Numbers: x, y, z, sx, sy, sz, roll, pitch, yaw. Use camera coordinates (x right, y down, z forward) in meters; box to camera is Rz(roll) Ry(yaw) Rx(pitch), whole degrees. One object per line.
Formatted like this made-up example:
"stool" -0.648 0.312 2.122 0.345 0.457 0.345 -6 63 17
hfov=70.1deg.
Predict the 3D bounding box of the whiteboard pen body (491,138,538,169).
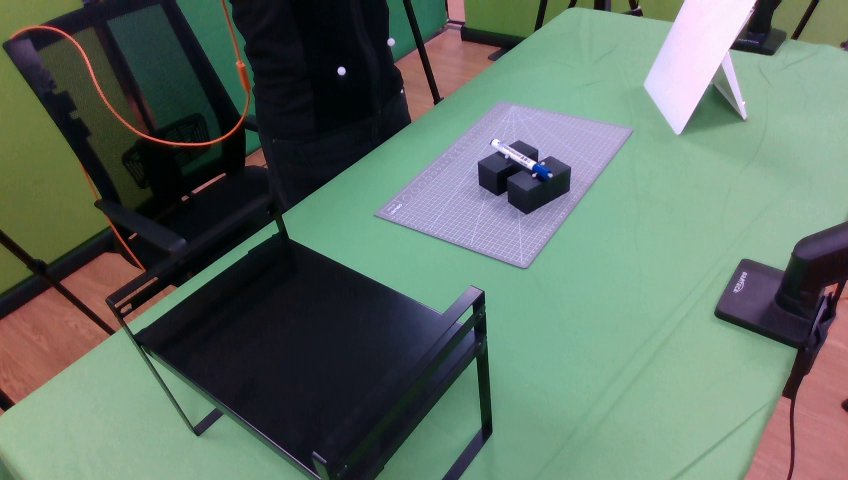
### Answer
"whiteboard pen body" 0.163 -0.145 1.041 0.017 0.017 0.139 -27 43 -22

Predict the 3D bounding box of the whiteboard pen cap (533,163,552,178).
"whiteboard pen cap" 0.196 -0.116 1.003 0.018 0.018 0.033 -28 42 -22

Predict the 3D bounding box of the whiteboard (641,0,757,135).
"whiteboard" 0.576 -0.367 1.147 0.144 0.305 0.216 10 39 -9
